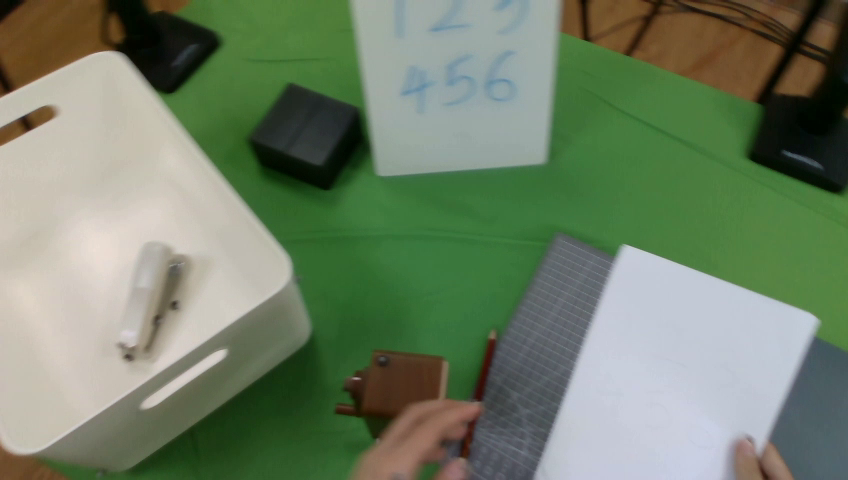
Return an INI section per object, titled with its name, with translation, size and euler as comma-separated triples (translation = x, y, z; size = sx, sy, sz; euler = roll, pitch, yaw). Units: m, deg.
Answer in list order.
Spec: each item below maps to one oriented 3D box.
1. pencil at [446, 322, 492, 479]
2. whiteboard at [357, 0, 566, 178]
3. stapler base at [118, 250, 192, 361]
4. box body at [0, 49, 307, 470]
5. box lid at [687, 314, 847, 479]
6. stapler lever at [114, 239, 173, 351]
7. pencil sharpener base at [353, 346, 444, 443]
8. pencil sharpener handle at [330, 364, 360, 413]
[pencil]
translation = 0.046, 0.170, 0.614
size = 0.012, 0.012, 0.193
euler = 14, 62, 8
[whiteboard]
translation = 0.038, -0.246, 0.711
size = 0.217, 0.308, 0.142
euler = -4, 42, -1
[stapler base]
translation = -0.295, 0.065, 0.659
size = 0.041, 0.024, 0.129
euler = 7, 63, 6
[box body]
translation = -0.316, 0.014, 0.614
size = 0.254, 0.161, 0.361
euler = -36, 67, -18
[box lid]
translation = 0.380, 0.266, 0.562
size = 0.262, 0.015, 0.370
euler = 27, 65, 13
[stapler lever]
translation = -0.295, 0.054, 0.636
size = 0.027, 0.040, 0.117
euler = 7, 64, 6
[pencil sharpener base]
translation = -0.022, 0.148, 0.572
size = 0.076, 0.108, 0.061
euler = 6, 61, 4
[pencil sharpener handle]
translation = -0.074, 0.140, 0.562
size = 0.030, 0.068, 0.035
euler = 6, 45, 4
